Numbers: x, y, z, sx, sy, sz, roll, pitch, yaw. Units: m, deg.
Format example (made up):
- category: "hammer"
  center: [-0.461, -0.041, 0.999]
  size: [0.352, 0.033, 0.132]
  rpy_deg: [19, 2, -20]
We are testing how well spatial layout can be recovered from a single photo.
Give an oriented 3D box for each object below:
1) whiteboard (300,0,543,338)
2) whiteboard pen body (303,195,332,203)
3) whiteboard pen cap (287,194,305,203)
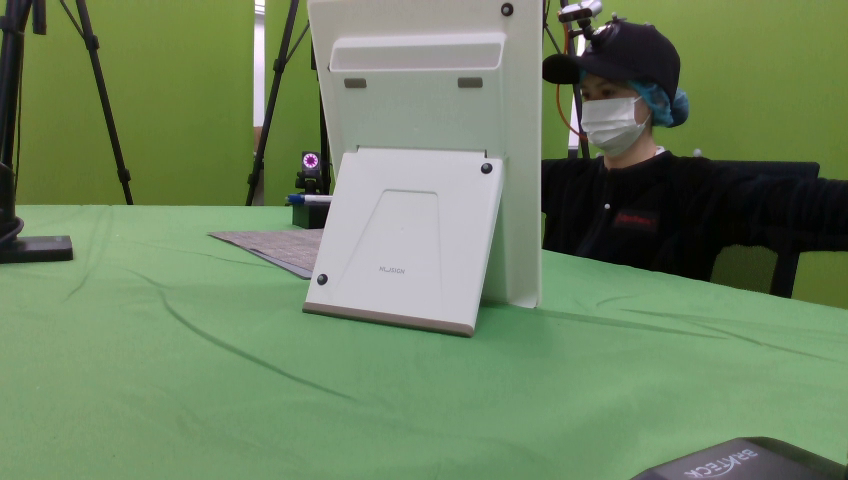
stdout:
- category: "whiteboard"
  center: [-0.020, -0.050, 0.523]
  size: [0.216, 0.305, 0.144]
  rpy_deg: [6, 27, 22]
- category: "whiteboard pen body"
  center: [-0.198, -0.083, 1.229]
  size: [0.141, 0.017, 0.017]
  rpy_deg: [0, 8, -22]
- category: "whiteboard pen cap"
  center: [-0.255, -0.083, 1.206]
  size: [0.033, 0.018, 0.018]
  rpy_deg: [1, 8, -22]
